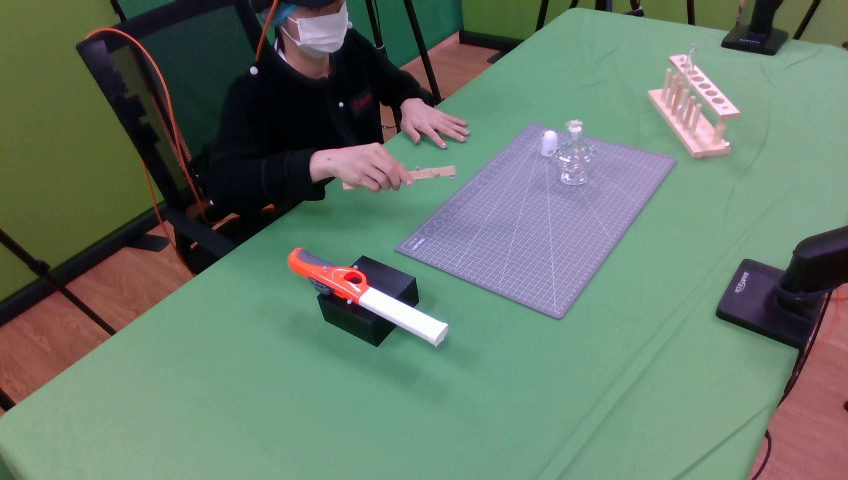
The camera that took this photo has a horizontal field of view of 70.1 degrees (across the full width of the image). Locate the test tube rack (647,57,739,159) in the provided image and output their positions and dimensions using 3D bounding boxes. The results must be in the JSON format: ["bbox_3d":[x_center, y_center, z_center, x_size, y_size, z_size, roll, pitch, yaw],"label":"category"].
[{"bbox_3d":[0.504,-0.257,1.153,0.067,0.085,0.241,-8,40,1],"label":"test tube rack"}]

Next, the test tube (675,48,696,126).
[{"bbox_3d":[0.481,-0.279,1.112,0.017,0.151,0.017,-5,40,5],"label":"test tube"}]

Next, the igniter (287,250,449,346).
[{"bbox_3d":[-0.087,0.073,0.825,0.274,0.025,0.057,23,48,27],"label":"igniter"}]

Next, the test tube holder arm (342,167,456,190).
[{"bbox_3d":[-0.039,-0.093,0.917,0.178,0.015,0.013,-7,1,10],"label":"test tube holder arm"}]

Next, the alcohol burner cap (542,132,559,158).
[{"bbox_3d":[0.238,-0.180,1.134,0.034,0.048,0.033,-5,41,5],"label":"alcohol burner cap"}]

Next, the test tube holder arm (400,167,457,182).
[{"bbox_3d":[0.006,-0.099,0.915,0.087,0.015,0.010,-6,1,11],"label":"test tube holder arm"}]

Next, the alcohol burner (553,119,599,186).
[{"bbox_3d":[0.261,-0.153,1.042,0.078,0.119,0.077,-6,40,6],"label":"alcohol burner"}]
